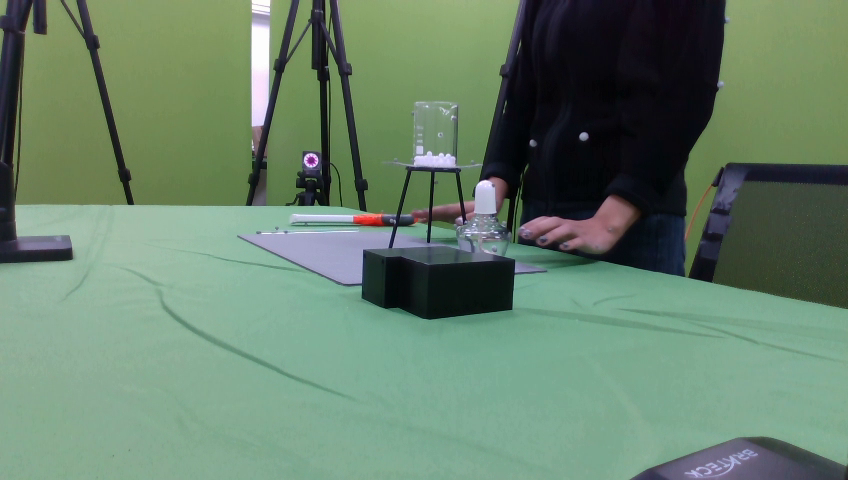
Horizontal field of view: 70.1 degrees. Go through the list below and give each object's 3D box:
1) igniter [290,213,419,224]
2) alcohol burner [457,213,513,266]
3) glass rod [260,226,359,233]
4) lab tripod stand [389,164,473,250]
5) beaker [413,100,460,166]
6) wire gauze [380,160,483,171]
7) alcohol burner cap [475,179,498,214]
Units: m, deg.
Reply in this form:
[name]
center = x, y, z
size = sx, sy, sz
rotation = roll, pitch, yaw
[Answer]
[igniter]
center = -0.143, -0.046, 1.288
size = 0.278, 0.025, 0.057
rotation = -1, -3, -24
[alcohol burner]
center = 0.084, -0.025, 0.837
size = 0.078, 0.119, 0.078
rotation = 0, 8, 0
[glass rod]
center = -0.211, -0.020, 1.137
size = 0.201, 0.008, 0.008
rotation = -3, 9, -35
[lab tripod stand]
center = 0.011, -0.054, 0.960
size = 0.148, 0.131, 0.148
rotation = 2, 9, 0
[beaker]
center = 0.020, -0.167, 0.953
size = 0.073, 0.100, 0.084
rotation = 6, 9, 26
[wire gauze]
center = 0.011, -0.119, 0.951
size = 0.122, 0.011, 0.124
rotation = -5, 12, -32
[alcohol burner cap]
center = 0.086, -0.061, 0.833
size = 0.034, 0.048, 0.034
rotation = -1, 11, 0
